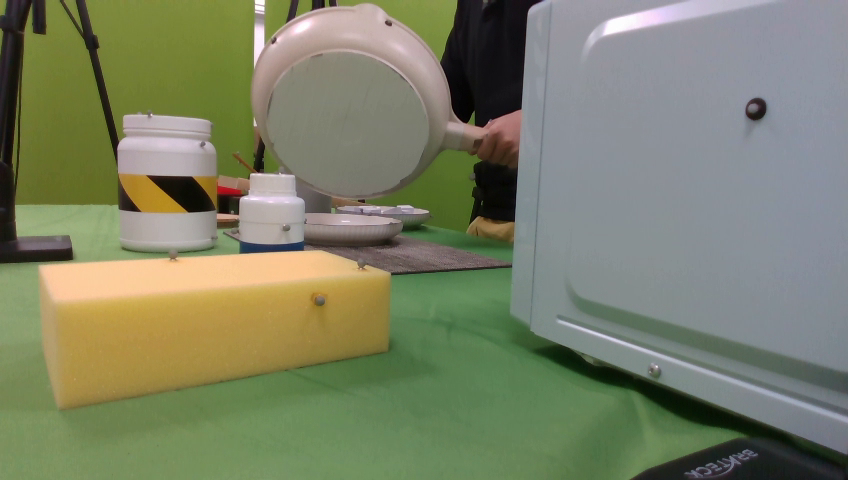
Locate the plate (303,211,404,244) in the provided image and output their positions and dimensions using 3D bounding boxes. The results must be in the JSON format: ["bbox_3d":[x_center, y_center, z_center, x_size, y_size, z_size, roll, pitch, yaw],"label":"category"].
[{"bbox_3d":[-0.139,-0.022,1.021,0.209,0.038,0.209,2,8,0],"label":"plate"}]

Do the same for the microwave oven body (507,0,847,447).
[{"bbox_3d":[0.331,-0.042,0.425,0.444,0.260,0.324,-2,8,-31],"label":"microwave oven body"}]

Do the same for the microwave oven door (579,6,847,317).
[{"bbox_3d":[0.294,-0.067,0.570,0.358,0.243,0.039,-3,9,-31],"label":"microwave oven door"}]

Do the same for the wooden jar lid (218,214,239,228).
[{"bbox_3d":[-0.404,-0.037,1.169,0.108,0.020,0.108,3,7,0],"label":"wooden jar lid"}]

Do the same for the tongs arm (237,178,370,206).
[{"bbox_3d":[-0.242,-0.095,1.374,0.387,0.026,0.050,9,0,-37],"label":"tongs arm"}]

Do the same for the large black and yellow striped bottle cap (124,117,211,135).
[{"bbox_3d":[-0.366,-0.163,0.866,0.115,0.019,0.115,3,7,0],"label":"large black and yellow striped bottle cap"}]

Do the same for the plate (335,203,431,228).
[{"bbox_3d":[-0.089,-0.053,1.309,0.208,0.039,0.207,2,8,0],"label":"plate"}]

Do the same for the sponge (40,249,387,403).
[{"bbox_3d":[-0.142,0.047,0.420,0.208,0.061,0.117,-3,8,-36],"label":"sponge"}]

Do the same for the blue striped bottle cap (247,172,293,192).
[{"bbox_3d":[-0.152,-0.057,0.598,0.044,0.020,0.044,3,6,0],"label":"blue striped bottle cap"}]

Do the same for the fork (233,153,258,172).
[{"bbox_3d":[-0.396,-0.143,1.486,0.028,0.018,0.208,21,-25,45],"label":"fork"}]

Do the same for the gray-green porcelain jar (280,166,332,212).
[{"bbox_3d":[-0.238,-0.092,1.221,0.106,0.126,0.106,2,7,0],"label":"gray-green porcelain jar"}]

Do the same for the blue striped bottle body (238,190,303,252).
[{"bbox_3d":[-0.153,-0.007,0.605,0.063,0.120,0.063,2,7,0],"label":"blue striped bottle body"}]

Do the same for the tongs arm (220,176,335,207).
[{"bbox_3d":[-0.286,-0.104,1.445,0.389,0.027,0.028,9,-4,-23],"label":"tongs arm"}]

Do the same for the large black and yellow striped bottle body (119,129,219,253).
[{"bbox_3d":[-0.368,-0.080,0.876,0.131,0.184,0.130,2,7,0],"label":"large black and yellow striped bottle body"}]

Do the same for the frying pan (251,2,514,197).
[{"bbox_3d":[-0.005,-0.170,0.894,0.490,0.306,0.102,4,40,-14],"label":"frying pan"}]

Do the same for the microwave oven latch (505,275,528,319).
[{"bbox_3d":[0.100,0.041,0.471,0.079,0.029,0.030,-1,7,-28],"label":"microwave oven latch"}]

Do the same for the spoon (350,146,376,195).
[{"bbox_3d":[-0.097,-0.120,1.006,0.042,0.021,0.193,13,25,-8],"label":"spoon"}]
